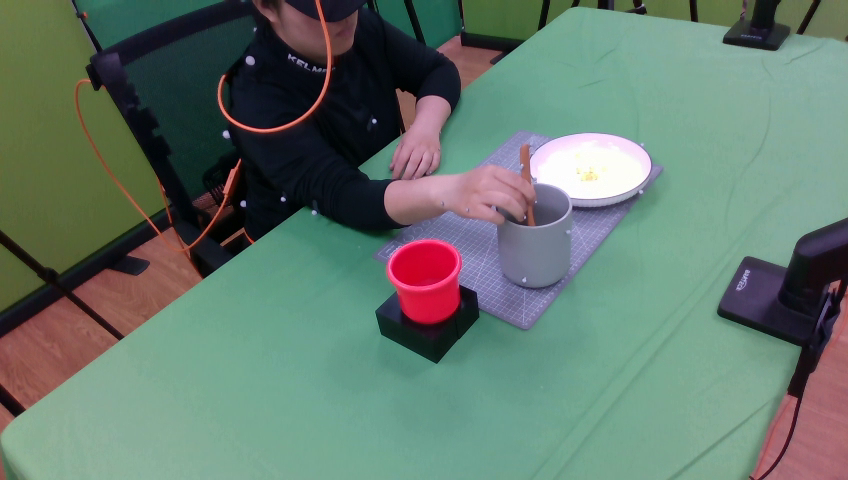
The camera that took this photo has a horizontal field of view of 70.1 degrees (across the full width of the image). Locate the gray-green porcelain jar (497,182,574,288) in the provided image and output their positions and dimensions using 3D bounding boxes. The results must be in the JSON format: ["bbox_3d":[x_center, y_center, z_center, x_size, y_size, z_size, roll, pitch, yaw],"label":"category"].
[{"bbox_3d":[0.160,-0.003,0.869,0.106,0.127,0.105,-5,40,5],"label":"gray-green porcelain jar"}]

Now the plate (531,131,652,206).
[{"bbox_3d":[0.287,-0.121,1.056,0.207,0.039,0.206,-5,40,5],"label":"plate"}]

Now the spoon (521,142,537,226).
[{"bbox_3d":[0.143,-0.040,0.811,0.041,0.194,0.021,-10,25,3],"label":"spoon"}]
